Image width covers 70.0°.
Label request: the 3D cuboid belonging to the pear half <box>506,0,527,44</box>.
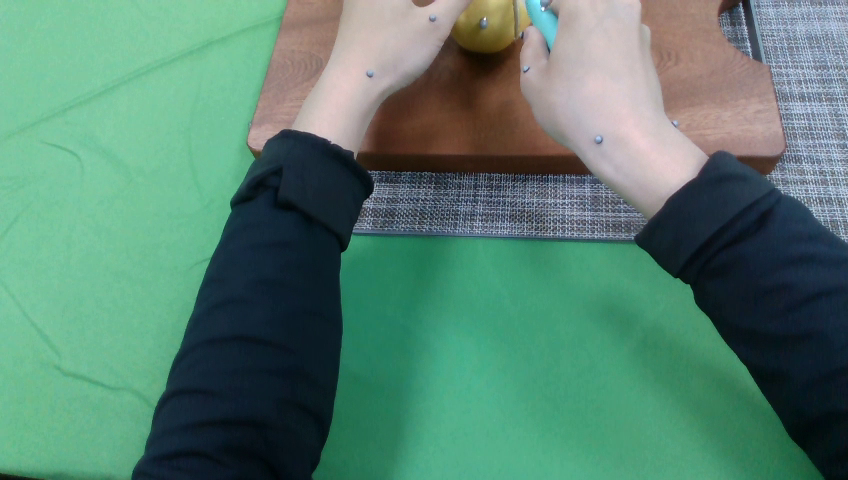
[{"bbox_3d":[0.071,-0.198,0.470,0.031,0.089,0.069,-18,57,-7],"label":"pear half"}]

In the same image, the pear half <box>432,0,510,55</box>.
[{"bbox_3d":[0.032,-0.193,0.459,0.056,0.111,0.075,-19,55,-2],"label":"pear half"}]

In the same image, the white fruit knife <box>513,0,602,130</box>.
[{"bbox_3d":[0.071,-0.162,0.420,0.016,0.027,0.205,-20,64,-5],"label":"white fruit knife"}]
